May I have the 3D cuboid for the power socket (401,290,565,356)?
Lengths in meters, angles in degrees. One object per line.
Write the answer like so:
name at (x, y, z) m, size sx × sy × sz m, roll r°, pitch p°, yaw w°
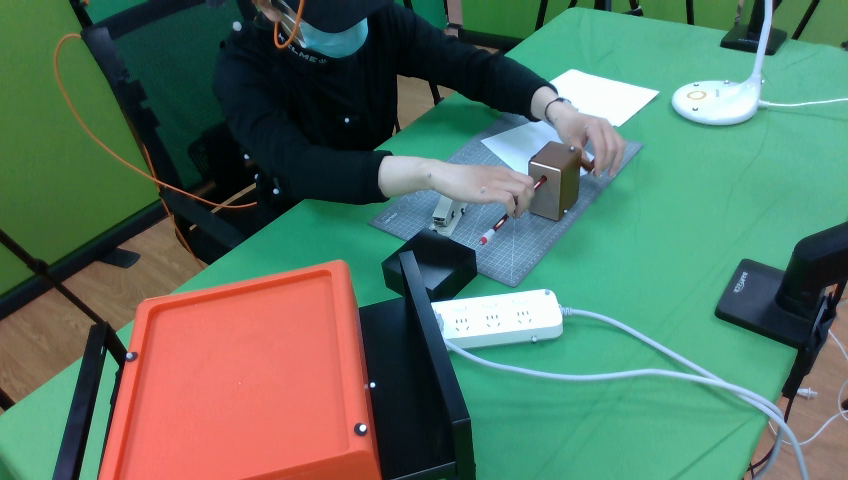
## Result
power socket at (0.080, 0.112, 0.822) m, size 0.227 × 0.033 × 0.072 m, roll -6°, pitch 41°, yaw 0°

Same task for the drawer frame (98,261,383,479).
drawer frame at (-0.148, 0.129, 0.520) m, size 0.202 × 0.083 × 0.212 m, roll -12°, pitch 41°, yaw -6°

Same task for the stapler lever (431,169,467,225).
stapler lever at (0.043, -0.074, 1.010) m, size 0.026 × 0.040 × 0.118 m, roll 10°, pitch 45°, yaw 20°

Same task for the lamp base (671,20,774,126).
lamp base at (0.581, -0.332, 1.154) m, size 0.179 × 0.181 × 0.160 m, roll 2°, pitch 41°, yaw 7°

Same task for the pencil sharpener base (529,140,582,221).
pencil sharpener base at (0.214, -0.097, 0.985) m, size 0.061 × 0.107 × 0.077 m, roll 21°, pitch 48°, yaw 30°

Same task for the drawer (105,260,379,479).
drawer at (-0.150, 0.127, 0.525) m, size 0.195 × 0.073 × 0.210 m, roll -11°, pitch 41°, yaw -5°

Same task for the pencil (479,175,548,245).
pencil at (0.143, -0.054, 0.910) m, size 0.012 × 0.012 × 0.194 m, roll 25°, pitch 54°, yaw 33°

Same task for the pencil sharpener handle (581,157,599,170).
pencil sharpener handle at (0.253, -0.139, 0.994) m, size 0.067 × 0.036 × 0.031 m, roll 35°, pitch 53°, yaw 14°

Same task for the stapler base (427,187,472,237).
stapler base at (0.045, -0.057, 1.028) m, size 0.041 × 0.024 × 0.130 m, roll 10°, pitch 45°, yaw 20°

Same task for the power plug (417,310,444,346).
power plug at (0.006, 0.122, 0.785) m, size 0.035 × 0.053 × 0.072 m, roll 0°, pitch 40°, yaw 9°

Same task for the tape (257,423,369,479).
tape at (-0.121, 0.262, 0.660) m, size 0.117 × 0.053 × 0.116 m, roll -4°, pitch 40°, yaw 4°
